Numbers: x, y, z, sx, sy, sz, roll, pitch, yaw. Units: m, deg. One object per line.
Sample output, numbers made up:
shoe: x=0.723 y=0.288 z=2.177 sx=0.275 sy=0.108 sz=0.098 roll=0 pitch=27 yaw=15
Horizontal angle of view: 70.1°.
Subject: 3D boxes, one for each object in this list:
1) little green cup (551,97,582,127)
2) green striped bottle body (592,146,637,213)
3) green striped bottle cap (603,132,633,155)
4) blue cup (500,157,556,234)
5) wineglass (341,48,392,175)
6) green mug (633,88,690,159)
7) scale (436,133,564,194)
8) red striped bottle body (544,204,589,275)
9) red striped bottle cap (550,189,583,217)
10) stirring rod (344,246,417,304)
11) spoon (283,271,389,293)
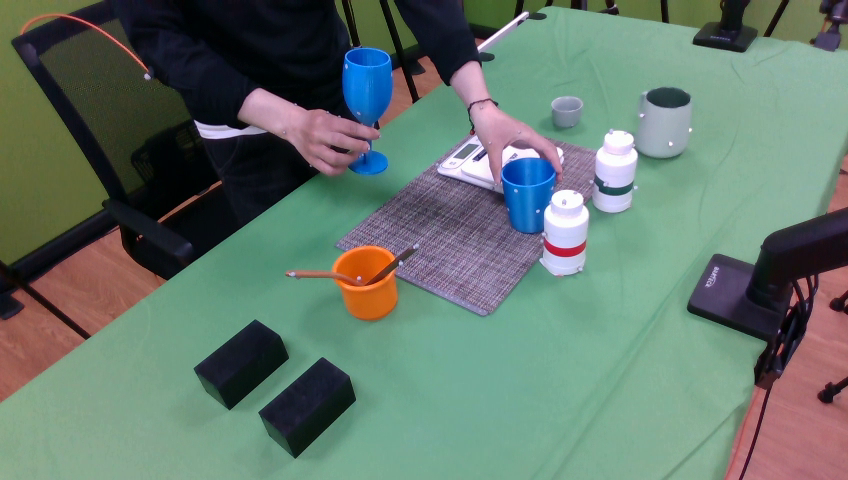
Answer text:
little green cup: x=0.284 y=-0.255 z=1.213 sx=0.061 sy=0.039 sz=0.061 roll=-5 pitch=41 yaw=5
green striped bottle body: x=0.307 y=-0.108 z=0.976 sx=0.063 sy=0.120 sz=0.063 roll=-4 pitch=41 yaw=4
green striped bottle cap: x=0.302 y=-0.149 z=0.939 sx=0.044 sy=0.020 sz=0.044 roll=-3 pitch=40 yaw=3
blue cup: x=0.167 y=-0.066 z=0.954 sx=0.092 sy=0.101 sz=0.092 roll=-7 pitch=37 yaw=6
wineglass: x=-0.083 y=-0.184 z=0.882 sx=0.074 sy=0.172 sz=0.073 roll=3 pitch=40 yaw=-2
green mug: x=0.423 y=-0.217 z=1.099 sx=0.093 sy=0.105 sz=0.124 roll=-16 pitch=41 yaw=-10
scale: x=0.137 y=-0.142 z=1.101 sx=0.199 sy=0.032 sz=0.149 roll=22 pitch=48 yaw=30
red striped bottle body: x=0.206 y=-0.011 z=0.877 sx=0.063 sy=0.120 sz=0.062 roll=-4 pitch=41 yaw=4
red striped bottle cap: x=0.199 y=-0.052 z=0.843 sx=0.044 sy=0.018 sz=0.044 roll=-1 pitch=43 yaw=2
stirring rod: x=-0.062 y=0.050 z=0.819 sx=0.014 sy=0.175 sz=0.006 roll=-2 pitch=63 yaw=-41
spoon: x=-0.117 y=0.054 z=0.825 sx=0.041 sy=0.195 sz=0.021 roll=16 pitch=89 yaw=38
